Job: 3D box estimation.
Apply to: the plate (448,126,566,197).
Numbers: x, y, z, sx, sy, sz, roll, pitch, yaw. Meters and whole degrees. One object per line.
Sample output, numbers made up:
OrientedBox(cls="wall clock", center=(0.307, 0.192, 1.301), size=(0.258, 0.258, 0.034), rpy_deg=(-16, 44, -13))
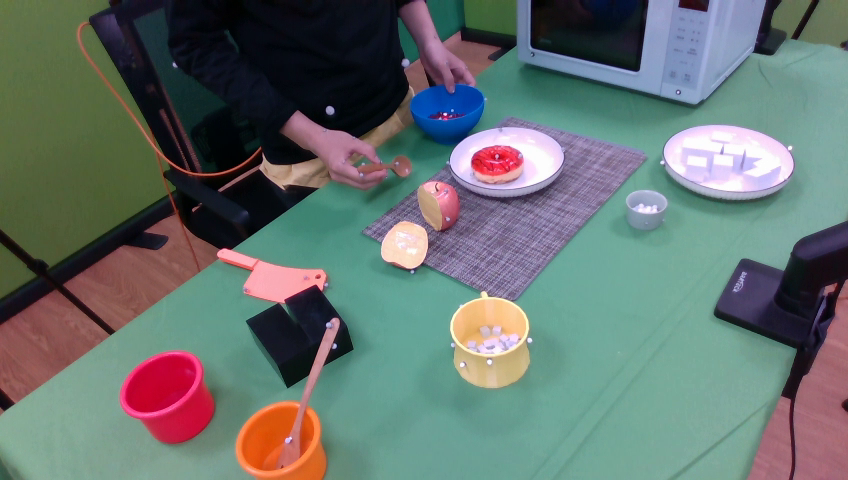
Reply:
OrientedBox(cls="plate", center=(0.150, -0.138, 1.097), size=(0.209, 0.038, 0.208), rpy_deg=(-4, 40, 4))

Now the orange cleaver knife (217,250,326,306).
OrientedBox(cls="orange cleaver knife", center=(-0.248, 0.059, 0.945), size=(0.210, 0.012, 0.077), rpy_deg=(12, 48, 20))

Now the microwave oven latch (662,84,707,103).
OrientedBox(cls="microwave oven latch", center=(0.517, -0.296, 1.204), size=(0.078, 0.029, 0.030), rpy_deg=(27, 52, 35))

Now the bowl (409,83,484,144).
OrientedBox(cls="bowl", center=(0.048, -0.245, 1.213), size=(0.151, 0.077, 0.150), rpy_deg=(-4, 40, 4))

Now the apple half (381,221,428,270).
OrientedBox(cls="apple half", center=(-0.025, 0.012, 0.946), size=(0.081, 0.033, 0.081), rpy_deg=(-5, 73, 16))

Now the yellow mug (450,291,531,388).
OrientedBox(cls="yellow mug", center=(0.085, 0.120, 0.786), size=(0.100, 0.064, 0.130), rpy_deg=(-7, 39, 1))

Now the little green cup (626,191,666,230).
OrientedBox(cls="little green cup", center=(0.352, -0.046, 0.963), size=(0.061, 0.039, 0.061), rpy_deg=(-4, 40, 4))

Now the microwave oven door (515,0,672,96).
OrientedBox(cls="microwave oven door", center=(0.343, -0.454, 1.259), size=(0.353, 0.245, 0.039), rpy_deg=(26, 51, 33))

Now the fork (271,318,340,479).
OrientedBox(cls="fork", center=(-0.132, 0.186, 0.676), size=(0.028, 0.019, 0.207), rpy_deg=(18, 90, 28))

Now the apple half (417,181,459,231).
OrientedBox(cls="apple half", center=(0.030, -0.060, 0.995), size=(0.053, 0.075, 0.080), rpy_deg=(-23, 39, -22))

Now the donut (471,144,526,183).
OrientedBox(cls="donut", center=(0.133, -0.139, 1.082), size=(0.099, 0.048, 0.098), rpy_deg=(-5, 39, 4))

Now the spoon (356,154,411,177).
OrientedBox(cls="spoon", center=(-0.067, -0.127, 1.047), size=(0.021, 0.041, 0.194), rpy_deg=(-6, 6, 20))

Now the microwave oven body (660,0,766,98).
OrientedBox(cls="microwave oven body", center=(0.472, -0.513, 1.317), size=(0.438, 0.261, 0.327), rpy_deg=(26, 51, 34))

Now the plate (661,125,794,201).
OrientedBox(cls="plate", center=(0.513, -0.128, 1.035), size=(0.207, 0.039, 0.206), rpy_deg=(-4, 40, 4))
